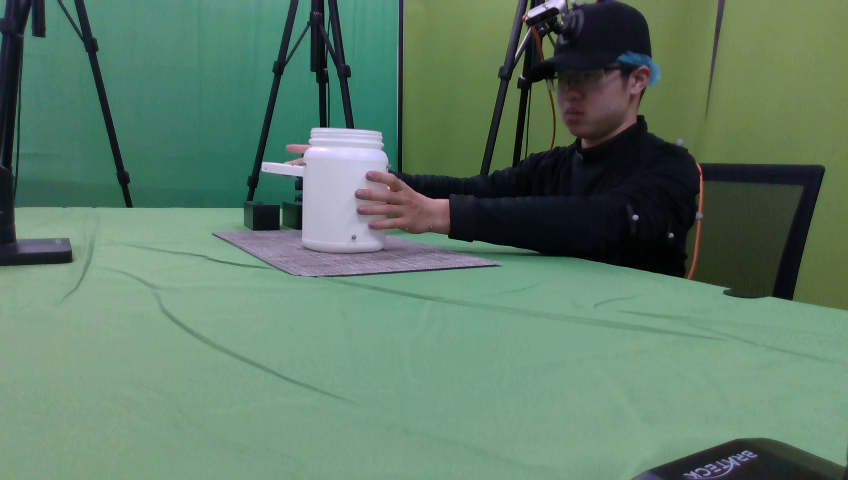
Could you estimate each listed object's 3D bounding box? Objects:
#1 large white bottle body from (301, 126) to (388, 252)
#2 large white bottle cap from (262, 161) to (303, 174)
[{"bbox_3d":[-0.122,-0.080,0.937,0.131,0.184,0.130,2,7,0],"label":"large white bottle body"},{"bbox_3d":[-0.246,-0.134,1.137,0.115,0.018,0.115,6,7,0],"label":"large white bottle cap"}]
